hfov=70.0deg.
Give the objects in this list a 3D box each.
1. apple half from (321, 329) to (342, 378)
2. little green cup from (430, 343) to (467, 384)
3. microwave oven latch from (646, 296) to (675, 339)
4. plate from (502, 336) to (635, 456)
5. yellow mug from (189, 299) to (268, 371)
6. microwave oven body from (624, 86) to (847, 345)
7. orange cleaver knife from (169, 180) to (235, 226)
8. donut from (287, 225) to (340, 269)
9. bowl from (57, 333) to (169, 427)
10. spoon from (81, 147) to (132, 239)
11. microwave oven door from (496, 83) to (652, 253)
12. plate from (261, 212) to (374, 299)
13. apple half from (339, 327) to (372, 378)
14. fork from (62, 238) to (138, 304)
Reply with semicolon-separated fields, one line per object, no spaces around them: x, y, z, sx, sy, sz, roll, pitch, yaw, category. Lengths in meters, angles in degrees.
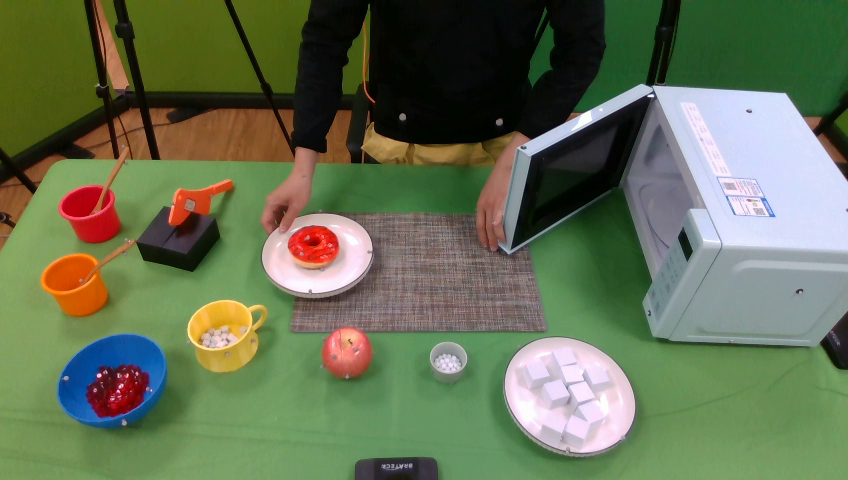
-0.149;0.186;0.972;0.033;0.081;0.080;-2;46;-12;apple half
0.039;0.203;0.994;0.061;0.039;0.061;2;46;-2;little green cup
0.412;0.134;1.061;0.030;0.029;0.078;4;45;1;microwave oven latch
0.225;0.248;0.963;0.208;0.039;0.206;2;46;-2;plate
-0.316;0.148;1.002;0.131;0.064;0.099;-33;56;-31;yellow mug
0.567;-0.053;1.118;0.326;0.261;0.439;2;45;-1;microwave oven body
-0.435;-0.076;1.199;0.012;0.077;0.211;17;17;9;orange cleaver knife
-0.207;0.013;1.139;0.099;0.048;0.098;3;45;-3;donut
-0.456;0.223;0.912;0.151;0.077;0.150;3;45;-2;bowl
-0.603;-0.089;1.156;0.041;0.022;0.193;27;94;18;spoon
0.295;-0.143;1.179;0.356;0.245;0.039;-29;55;-28;microwave oven door
-0.198;0.032;1.137;0.209;0.038;0.208;2;46;-2;plate
-0.111;0.183;0.980;0.053;0.075;0.080;-2;42;-12;apple half
-0.546;0.053;1.018;0.207;0.019;0.028;-36;41;23;fork
